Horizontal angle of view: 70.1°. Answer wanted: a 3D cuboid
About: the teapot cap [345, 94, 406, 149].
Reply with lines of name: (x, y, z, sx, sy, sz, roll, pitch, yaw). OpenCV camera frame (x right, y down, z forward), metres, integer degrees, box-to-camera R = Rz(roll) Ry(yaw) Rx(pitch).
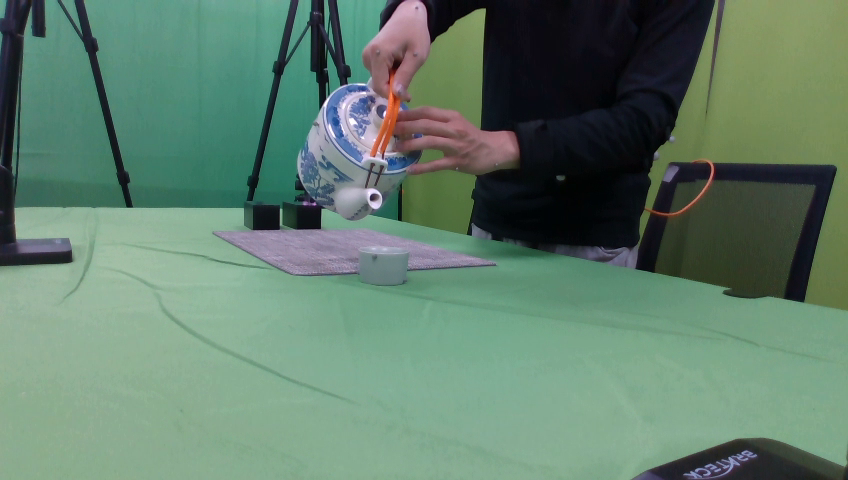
teapot cap: (-0.060, -0.156, 0.784, 0.085, 0.085, 0.043, -1, -21, -29)

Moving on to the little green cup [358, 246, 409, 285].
little green cup: (-0.048, 0.029, 0.707, 0.061, 0.038, 0.061, 2, 8, 0)

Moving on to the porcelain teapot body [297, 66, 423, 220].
porcelain teapot body: (-0.075, -0.112, 0.802, 0.146, 0.205, 0.224, 11, -30, -25)
